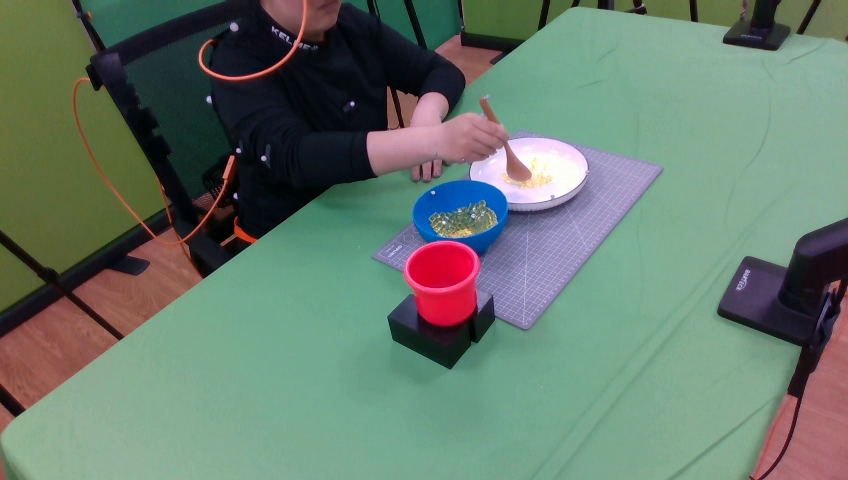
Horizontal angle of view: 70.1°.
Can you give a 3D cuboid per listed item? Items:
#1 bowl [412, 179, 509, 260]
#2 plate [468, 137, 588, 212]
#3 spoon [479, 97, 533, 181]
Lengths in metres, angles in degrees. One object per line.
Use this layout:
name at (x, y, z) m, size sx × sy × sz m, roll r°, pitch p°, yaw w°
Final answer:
bowl at (0.060, -0.022, 0.949) m, size 0.151 × 0.077 × 0.150 m, roll -5°, pitch 40°, yaw 5°
plate at (0.182, -0.112, 1.064) m, size 0.207 × 0.039 × 0.206 m, roll -5°, pitch 40°, yaw 5°
spoon at (0.128, -0.157, 0.971) m, size 0.041 × 0.195 × 0.021 m, roll -5°, pitch 48°, yaw 32°
